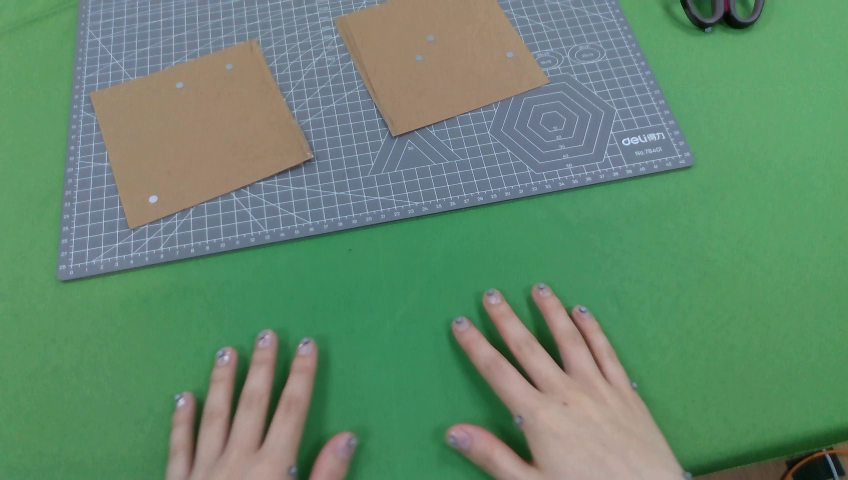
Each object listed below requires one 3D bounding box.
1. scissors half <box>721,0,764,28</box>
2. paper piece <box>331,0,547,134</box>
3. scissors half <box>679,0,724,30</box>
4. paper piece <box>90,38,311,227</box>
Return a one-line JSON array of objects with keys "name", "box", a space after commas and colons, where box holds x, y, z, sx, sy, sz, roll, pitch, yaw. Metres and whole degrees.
[{"name": "scissors half", "box": [0.253, -0.263, 0.507, 0.040, 0.013, 0.175, -11, 87, -4]}, {"name": "paper piece", "box": [0.010, -0.157, 0.488, 0.136, 0.004, 0.134, -21, 66, -9]}, {"name": "scissors half", "box": [0.233, -0.262, 0.505, 0.040, 0.013, 0.174, 7, 84, -8]}, {"name": "paper piece", "box": [-0.171, -0.088, 0.455, 0.138, 0.009, 0.134, -23, 61, -9]}]
